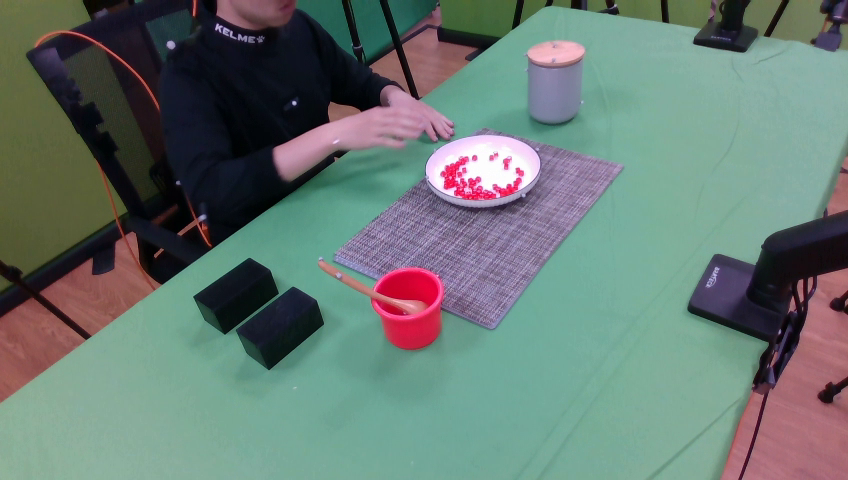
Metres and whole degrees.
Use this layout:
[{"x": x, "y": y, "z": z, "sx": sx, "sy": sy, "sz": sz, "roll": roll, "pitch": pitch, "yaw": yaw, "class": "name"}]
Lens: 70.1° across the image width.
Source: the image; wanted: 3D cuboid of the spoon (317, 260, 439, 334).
[{"x": -0.056, "y": 0.074, "z": 0.788, "sx": 0.195, "sy": 0.021, "sz": 0.041, "roll": 27, "pitch": 42, "yaw": -21, "class": "spoon"}]

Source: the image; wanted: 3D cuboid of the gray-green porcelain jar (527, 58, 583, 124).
[{"x": 0.260, "y": -0.304, "z": 1.207, "sx": 0.106, "sy": 0.127, "sz": 0.105, "roll": -4, "pitch": 41, "yaw": 4, "class": "gray-green porcelain jar"}]

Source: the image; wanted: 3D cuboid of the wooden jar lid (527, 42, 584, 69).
[{"x": 0.253, "y": -0.352, "z": 1.164, "sx": 0.108, "sy": 0.021, "sz": 0.108, "roll": -5, "pitch": 39, "yaw": 5, "class": "wooden jar lid"}]

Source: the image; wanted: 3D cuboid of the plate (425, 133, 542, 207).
[{"x": 0.106, "y": -0.122, "z": 1.079, "sx": 0.207, "sy": 0.039, "sz": 0.206, "roll": -4, "pitch": 41, "yaw": 4, "class": "plate"}]
